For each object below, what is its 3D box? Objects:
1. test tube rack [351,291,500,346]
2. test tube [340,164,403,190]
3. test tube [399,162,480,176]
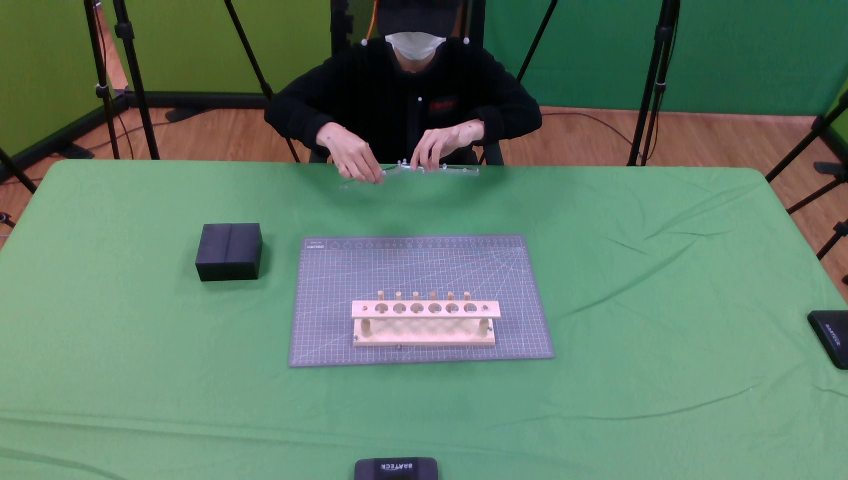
[{"bbox_3d":[0.000,0.129,1.026,0.242,0.085,0.066,1,46,-4],"label":"test tube rack"},{"bbox_3d":[-0.104,-0.121,1.169,0.150,0.017,0.017,-13,37,32],"label":"test tube"},{"bbox_3d":[0.028,-0.131,1.115,0.150,0.017,0.017,5,45,10],"label":"test tube"}]
